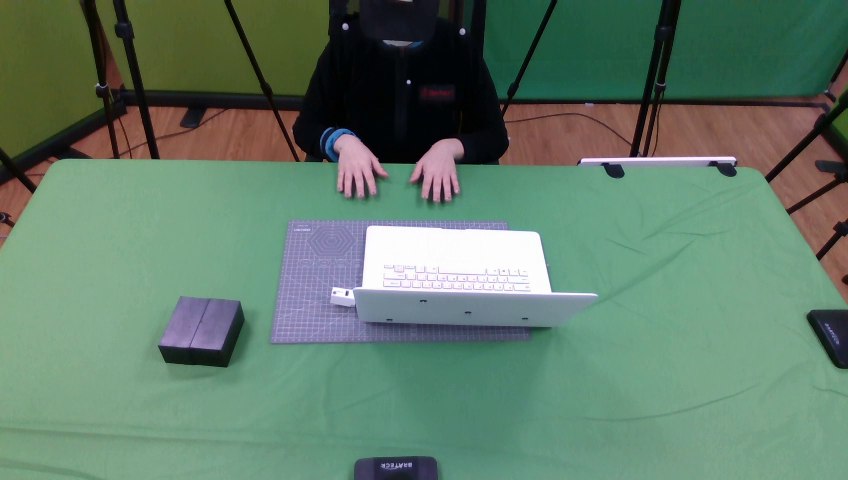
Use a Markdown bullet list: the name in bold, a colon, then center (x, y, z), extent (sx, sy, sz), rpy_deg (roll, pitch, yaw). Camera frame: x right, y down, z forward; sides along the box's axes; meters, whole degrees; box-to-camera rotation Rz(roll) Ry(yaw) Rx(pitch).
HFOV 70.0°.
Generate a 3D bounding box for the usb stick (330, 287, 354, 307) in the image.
- **usb stick**: center (-0.135, 0.101, 1.068), extent (0.059, 0.027, 0.021), rpy_deg (13, 43, -9)

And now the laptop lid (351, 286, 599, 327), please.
- **laptop lid**: center (0.068, 0.109, 0.952), extent (0.357, 0.242, 0.013), rpy_deg (2, 71, -4)

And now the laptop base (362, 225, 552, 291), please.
- **laptop base**: center (0.061, 0.063, 1.145), extent (0.354, 0.023, 0.234), rpy_deg (2, 43, -3)
